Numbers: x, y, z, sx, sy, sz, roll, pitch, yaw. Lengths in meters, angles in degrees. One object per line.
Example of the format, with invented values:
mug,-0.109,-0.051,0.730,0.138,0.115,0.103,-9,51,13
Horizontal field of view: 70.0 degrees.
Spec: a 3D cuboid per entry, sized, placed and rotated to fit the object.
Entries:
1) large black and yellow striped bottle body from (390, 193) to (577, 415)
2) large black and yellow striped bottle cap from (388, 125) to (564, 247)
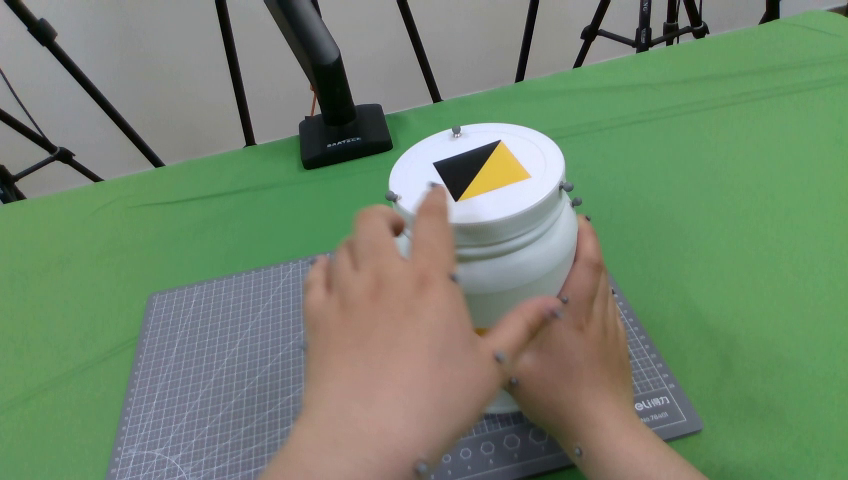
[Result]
large black and yellow striped bottle body,0.048,0.027,0.451,0.130,0.186,0.129,-7,40,6
large black and yellow striped bottle cap,0.033,-0.039,0.396,0.115,0.019,0.114,-6,41,6
